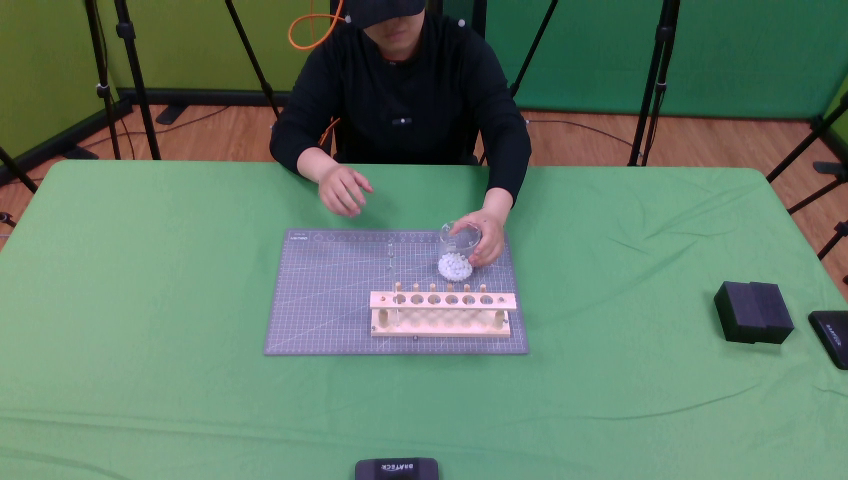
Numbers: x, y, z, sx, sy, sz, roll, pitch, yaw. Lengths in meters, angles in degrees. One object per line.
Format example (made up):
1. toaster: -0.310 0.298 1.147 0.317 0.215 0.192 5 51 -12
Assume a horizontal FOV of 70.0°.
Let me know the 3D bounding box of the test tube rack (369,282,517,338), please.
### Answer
1. test tube rack: 0.030 0.116 1.041 0.242 0.085 0.066 1 46 -3

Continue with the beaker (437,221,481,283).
1. beaker: 0.063 0.023 1.124 0.084 0.101 0.073 -19 51 -21

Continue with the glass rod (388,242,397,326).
1. glass rod: -0.051 0.076 0.981 0.008 0.201 0.008 0 44 1
